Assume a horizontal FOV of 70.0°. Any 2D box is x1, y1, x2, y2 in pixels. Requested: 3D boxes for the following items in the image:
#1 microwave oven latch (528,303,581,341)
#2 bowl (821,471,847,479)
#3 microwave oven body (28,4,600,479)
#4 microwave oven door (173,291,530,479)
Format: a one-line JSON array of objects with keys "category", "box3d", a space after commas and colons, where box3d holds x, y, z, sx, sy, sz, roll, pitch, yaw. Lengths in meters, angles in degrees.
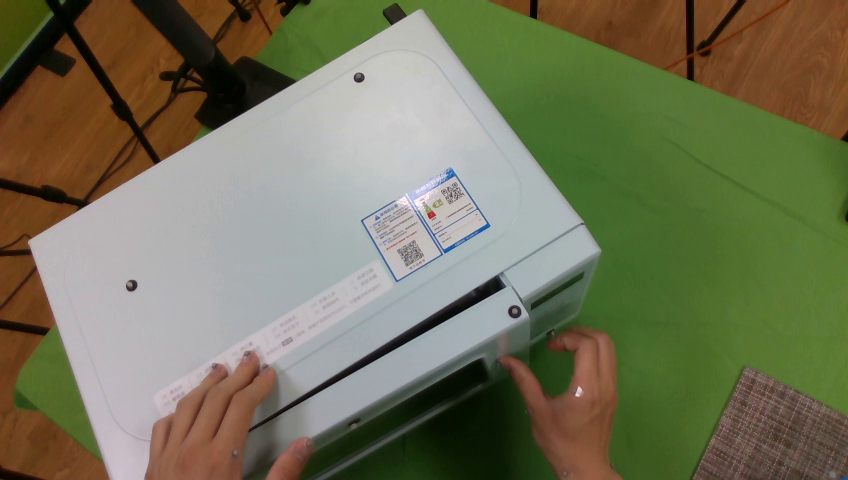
[{"category": "microwave oven latch", "box3d": [0.140, 0.086, 0.692, 0.079, 0.030, 0.030, -31, 70, -2]}, {"category": "bowl", "box3d": [0.411, 0.294, 0.569, 0.151, 0.077, 0.150, -3, 70, 8]}, {"category": "microwave oven body", "box3d": [-0.100, 0.030, 0.645, 0.442, 0.262, 0.323, -32, 70, -2]}, {"category": "microwave oven door", "box3d": [-0.060, 0.171, 0.584, 0.356, 0.246, 0.039, -29, 68, -2]}]
